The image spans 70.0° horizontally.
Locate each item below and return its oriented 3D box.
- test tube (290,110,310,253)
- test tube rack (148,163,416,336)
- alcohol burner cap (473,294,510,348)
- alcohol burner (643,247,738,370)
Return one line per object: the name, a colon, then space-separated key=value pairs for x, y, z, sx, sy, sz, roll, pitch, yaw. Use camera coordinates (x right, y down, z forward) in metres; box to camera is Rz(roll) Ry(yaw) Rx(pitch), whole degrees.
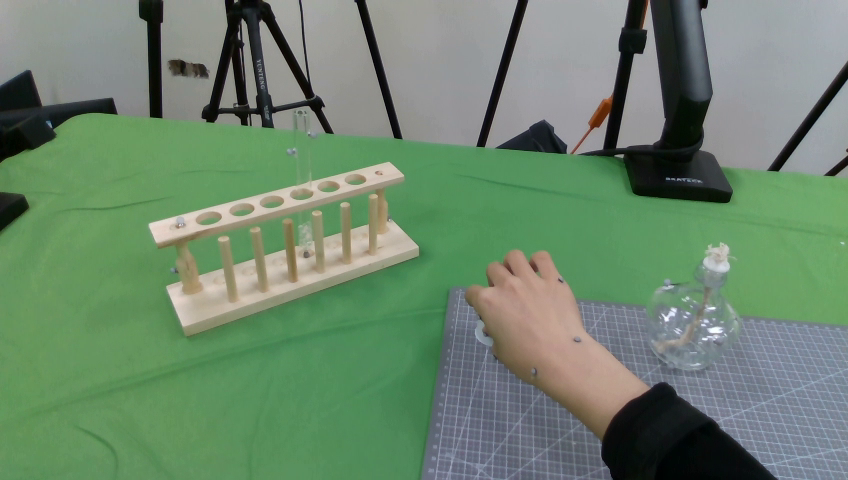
test tube: x=-0.119 y=-0.052 z=0.586 sx=0.017 sy=0.151 sz=0.017 roll=4 pitch=32 yaw=-2
test tube rack: x=-0.127 y=0.002 z=0.594 sx=0.243 sy=0.086 sz=0.066 roll=-19 pitch=41 yaw=-26
alcohol burner cap: x=0.062 y=0.069 z=0.542 sx=0.034 sy=0.048 sz=0.033 roll=3 pitch=36 yaw=-2
alcohol burner: x=0.230 y=0.053 z=0.514 sx=0.078 sy=0.120 sz=0.077 roll=2 pitch=38 yaw=-1
